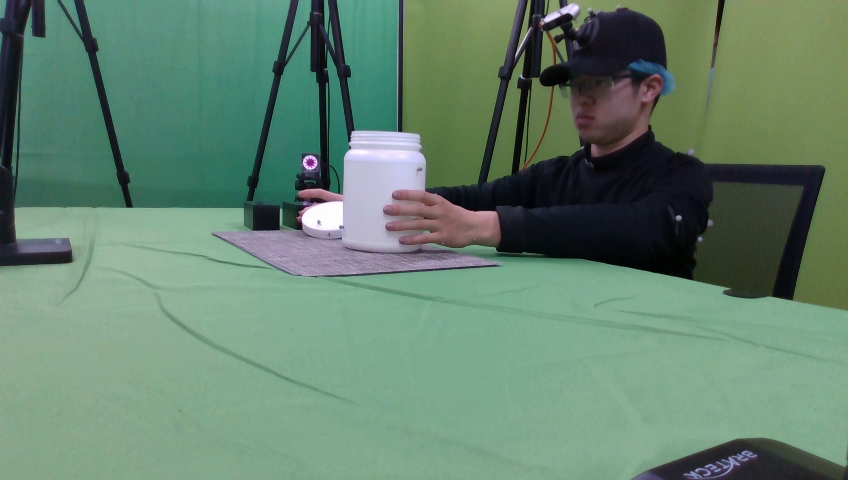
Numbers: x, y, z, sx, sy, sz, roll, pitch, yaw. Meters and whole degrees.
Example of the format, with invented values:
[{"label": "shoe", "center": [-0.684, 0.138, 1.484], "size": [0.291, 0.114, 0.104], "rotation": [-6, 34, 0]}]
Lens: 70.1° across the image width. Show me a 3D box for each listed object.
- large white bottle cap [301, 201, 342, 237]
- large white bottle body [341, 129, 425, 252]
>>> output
[{"label": "large white bottle cap", "center": [-0.166, -0.039, 1.100], "size": [0.115, 0.018, 0.114], "rotation": [-2, 29, 1]}, {"label": "large white bottle body", "center": [-0.064, -0.080, 0.957], "size": [0.131, 0.184, 0.130], "rotation": [2, 8, 0]}]
